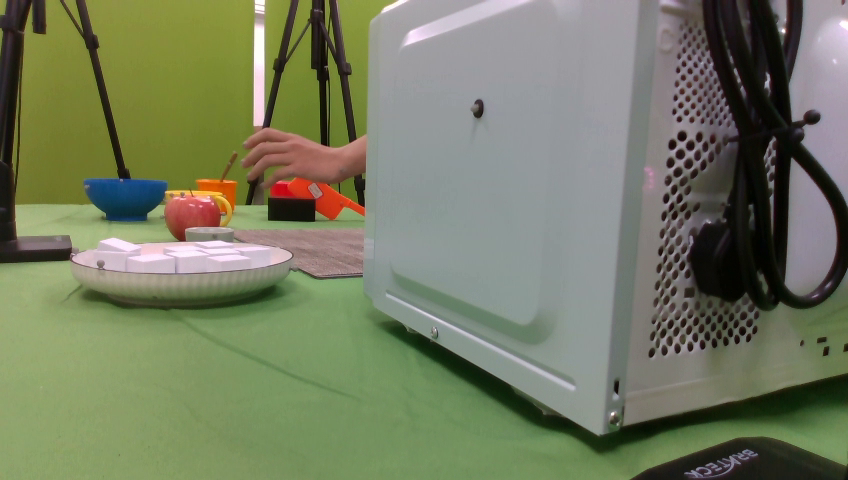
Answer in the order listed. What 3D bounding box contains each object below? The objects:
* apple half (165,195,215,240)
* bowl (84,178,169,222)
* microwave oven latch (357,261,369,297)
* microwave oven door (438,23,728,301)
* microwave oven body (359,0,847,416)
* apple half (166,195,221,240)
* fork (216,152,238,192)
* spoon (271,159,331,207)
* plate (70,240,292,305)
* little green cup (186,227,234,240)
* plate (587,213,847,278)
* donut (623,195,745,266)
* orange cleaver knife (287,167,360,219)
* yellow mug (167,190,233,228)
[{"bbox_3d":[-0.377,-0.038,0.964,0.082,0.081,0.032,-4,15,-39],"label":"apple half"},{"bbox_3d":[-0.584,-0.078,1.194,0.151,0.077,0.151,3,8,0],"label":"bowl"},{"bbox_3d":[-0.019,0.033,0.530,0.079,0.029,0.030,-1,7,-27],"label":"microwave oven latch"},{"bbox_3d":[0.181,-0.072,0.621,0.358,0.243,0.039,-2,8,-29],"label":"microwave oven door"},{"bbox_3d":[0.211,-0.047,0.474,0.444,0.260,0.324,-1,7,-28],"label":"microwave oven body"},{"bbox_3d":[-0.351,-0.032,0.935,0.081,0.074,0.053,1,11,-40],"label":"apple half"},{"bbox_3d":[-0.455,-0.132,1.366,0.028,0.018,0.207,-2,-35,-37],"label":"fork"},{"bbox_3d":[-0.307,-0.141,1.513,0.193,0.021,0.041,-41,4,8],"label":"spoon"},{"bbox_3d":[-0.242,0.031,0.618,0.208,0.039,0.207,2,8,0],"label":"plate"},{"bbox_3d":[-0.285,0.005,0.805,0.061,0.038,0.061,2,8,0],"label":"little green cup"},{"bbox_3d":[0.244,0.002,0.512,0.209,0.038,0.209,2,7,0],"label":"plate"},{"bbox_3d":[0.220,-0.007,0.518,0.099,0.048,0.099,21,0,0],"label":"donut"},{"bbox_3d":[-0.210,-0.089,1.383,0.212,0.077,0.012,31,4,-15],"label":"orange cleaver knife"},{"bbox_3d":[-0.415,-0.057,1.132,0.130,0.064,0.100,6,8,16],"label":"yellow mug"}]
